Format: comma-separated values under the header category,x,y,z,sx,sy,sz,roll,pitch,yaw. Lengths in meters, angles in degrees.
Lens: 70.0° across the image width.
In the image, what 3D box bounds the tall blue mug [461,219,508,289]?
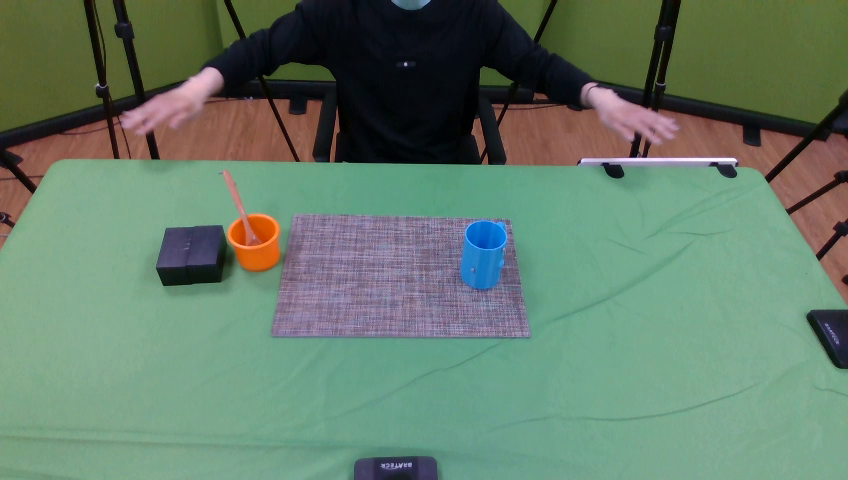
category,x,y,z,sx,sy,sz,roll,pitch,yaw
tall blue mug,0.111,0.016,1.121,0.078,0.108,0.106,6,46,4

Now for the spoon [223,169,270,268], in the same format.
category,x,y,z,sx,sy,sz,roll,pitch,yaw
spoon,-0.333,-0.040,1.124,0.041,0.194,0.021,-20,7,-17
